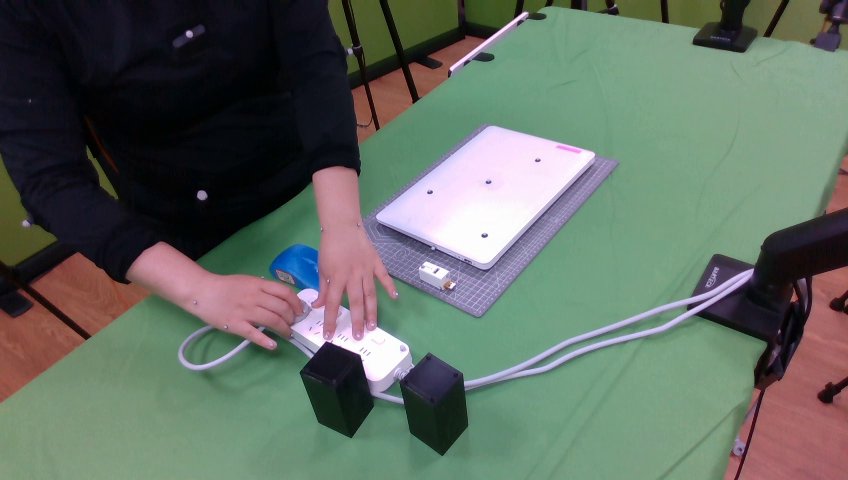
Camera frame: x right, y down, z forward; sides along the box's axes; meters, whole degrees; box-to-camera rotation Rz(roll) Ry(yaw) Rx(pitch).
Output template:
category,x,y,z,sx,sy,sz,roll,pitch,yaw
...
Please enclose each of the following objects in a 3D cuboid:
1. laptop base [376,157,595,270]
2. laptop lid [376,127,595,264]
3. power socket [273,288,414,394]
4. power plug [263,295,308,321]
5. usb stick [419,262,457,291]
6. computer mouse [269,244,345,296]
category,x,y,z,sx,sy,sz,roll,pitch,yaw
laptop base,0.115,-0.086,1.056,0.233,0.023,0.355,21,48,34
laptop lid,0.112,-0.096,1.050,0.239,0.013,0.358,24,49,34
power socket,-0.115,0.132,0.820,0.225,0.033,0.072,26,49,32
power plug,-0.192,0.103,0.824,0.073,0.053,0.035,-24,37,-37
usb stick,0.022,0.056,0.892,0.058,0.027,0.021,25,47,32
computer mouse,-0.182,0.044,0.932,0.116,0.041,0.063,24,46,24
